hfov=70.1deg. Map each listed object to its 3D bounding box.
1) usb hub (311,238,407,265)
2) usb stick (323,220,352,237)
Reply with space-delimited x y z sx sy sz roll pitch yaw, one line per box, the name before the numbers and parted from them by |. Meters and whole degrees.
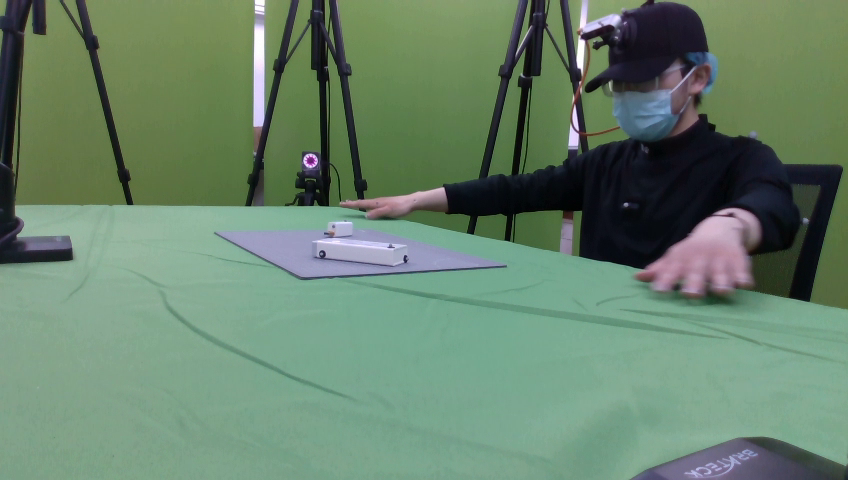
usb hub | -0.089 0.014 0.828 0.125 0.025 0.050 5 8 21
usb stick | -0.154 -0.020 1.072 0.021 0.027 0.059 10 13 35
